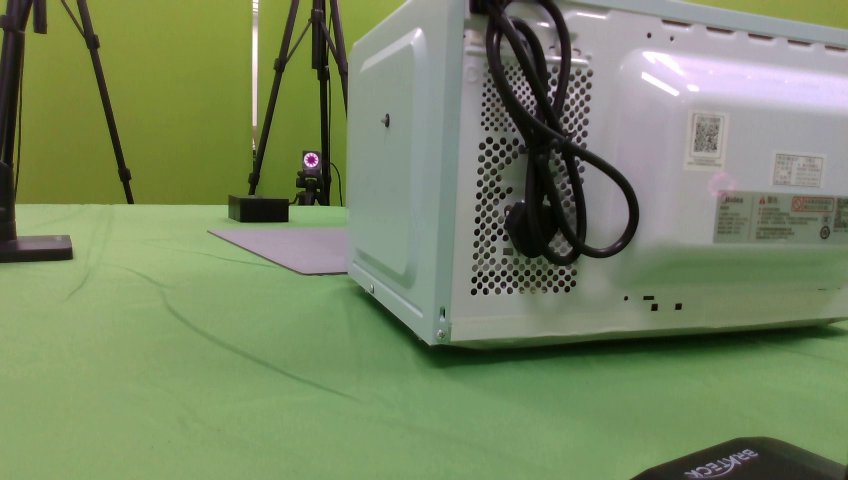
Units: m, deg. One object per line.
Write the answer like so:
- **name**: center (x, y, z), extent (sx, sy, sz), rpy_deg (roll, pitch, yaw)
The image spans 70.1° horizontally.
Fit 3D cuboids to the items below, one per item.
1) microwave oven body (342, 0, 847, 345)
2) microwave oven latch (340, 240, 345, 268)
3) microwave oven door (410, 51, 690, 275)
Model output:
- **microwave oven body**: center (0.169, -0.059, 0.573), extent (0.444, 0.260, 0.324), rpy_deg (1, 7, -20)
- **microwave oven latch**: center (-0.052, 0.016, 0.661), extent (0.079, 0.029, 0.030), rpy_deg (1, 7, -17)
- **microwave oven door**: center (0.161, -0.084, 0.723), extent (0.357, 0.243, 0.039), rpy_deg (0, 8, -20)
